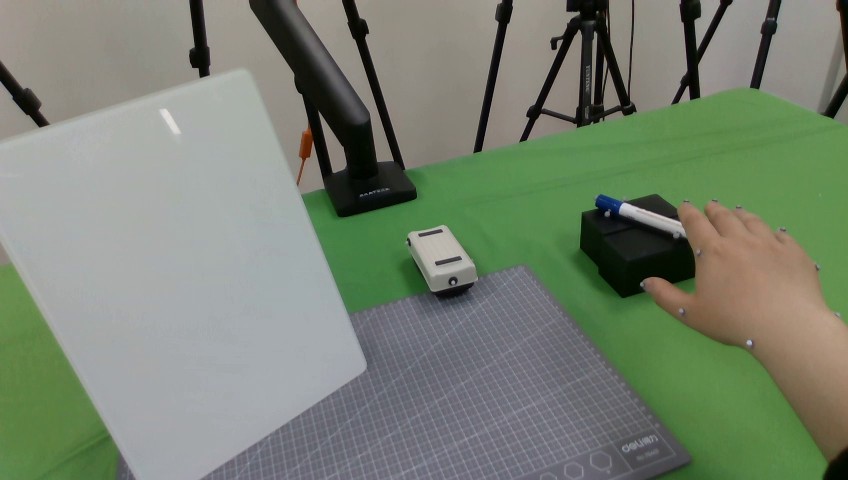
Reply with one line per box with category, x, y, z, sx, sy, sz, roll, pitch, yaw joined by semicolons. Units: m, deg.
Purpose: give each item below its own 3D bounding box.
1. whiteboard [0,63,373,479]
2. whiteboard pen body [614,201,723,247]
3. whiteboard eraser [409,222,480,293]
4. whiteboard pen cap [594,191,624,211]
whiteboard;-0.216;0.029;0.550;0.217;0.307;0.143;-29;21;-29
whiteboard pen body;0.259;-0.023;0.669;0.017;0.017;0.139;-31;41;-32
whiteboard eraser;0.021;0.021;0.710;0.056;0.042;0.111;-16;31;-10
whiteboard pen cap;0.215;-0.045;0.707;0.033;0.018;0.018;-16;31;18
